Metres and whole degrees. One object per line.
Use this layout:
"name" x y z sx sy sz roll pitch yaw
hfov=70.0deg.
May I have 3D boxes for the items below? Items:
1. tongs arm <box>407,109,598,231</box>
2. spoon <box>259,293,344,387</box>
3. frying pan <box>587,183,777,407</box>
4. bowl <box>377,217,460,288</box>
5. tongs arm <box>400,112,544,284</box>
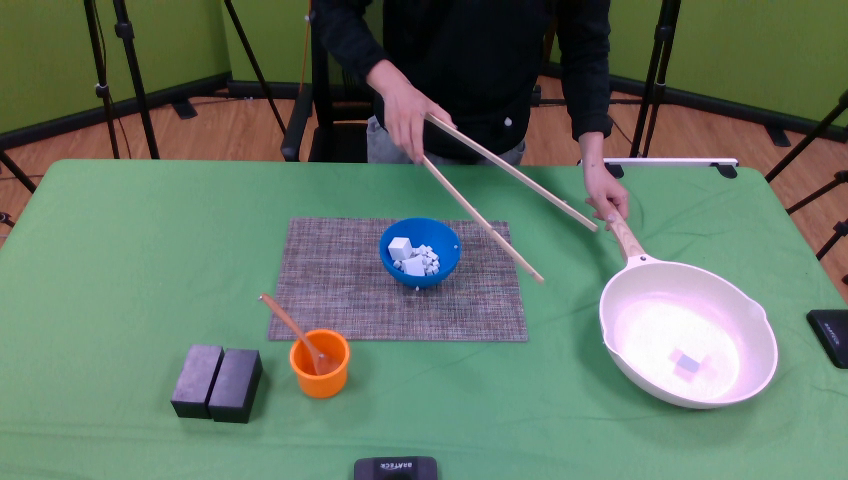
"tongs arm" 0.129 -0.126 1.036 0.386 0.028 0.028 36 79 16
"spoon" -0.191 0.155 0.947 0.021 0.194 0.041 -13 27 50
"frying pan" 0.412 0.079 1.096 0.307 0.103 0.484 -9 56 -14
"bowl" -0.011 0.036 1.118 0.151 0.077 0.150 2 46 -2
"tongs arm" 0.077 -0.078 1.020 0.051 0.026 0.383 -40 71 -10
